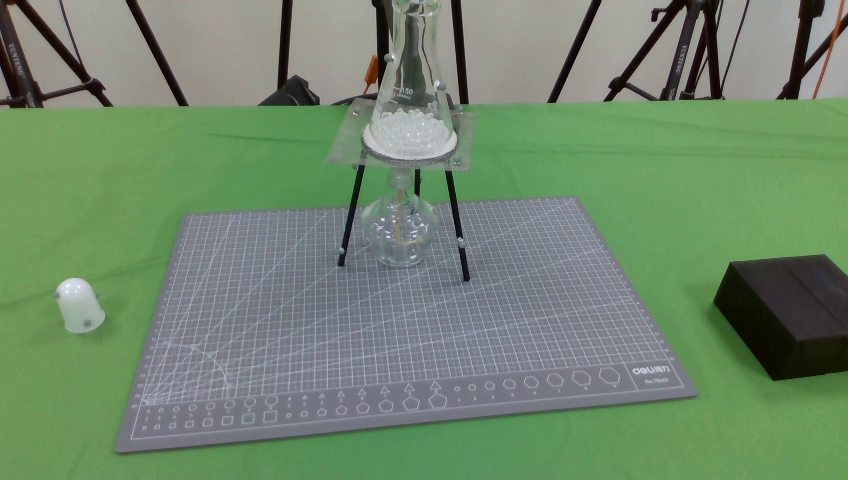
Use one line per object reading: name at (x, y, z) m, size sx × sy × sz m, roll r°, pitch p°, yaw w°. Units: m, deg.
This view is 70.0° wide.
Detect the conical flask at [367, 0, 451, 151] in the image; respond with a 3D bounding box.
conical flask at (-0.011, -0.142, 0.506) m, size 0.075 × 0.123 × 0.074 m, roll 3°, pitch 38°, yaw -2°

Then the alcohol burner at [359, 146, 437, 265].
alcohol burner at (-0.025, -0.036, 0.590) m, size 0.078 × 0.120 × 0.077 m, roll 1°, pitch 36°, yaw 0°

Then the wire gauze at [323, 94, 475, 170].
wire gauze at (-0.017, -0.097, 0.545) m, size 0.121 × 0.011 × 0.124 m, roll 6°, pitch 40°, yaw 3°

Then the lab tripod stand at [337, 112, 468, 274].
lab tripod stand at (-0.013, -0.045, 0.586) m, size 0.148 × 0.132 × 0.147 m, roll 4°, pitch 37°, yaw -2°

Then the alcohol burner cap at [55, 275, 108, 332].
alcohol burner cap at (-0.297, 0.052, 0.520) m, size 0.034 × 0.048 × 0.033 m, roll 1°, pitch 37°, yaw -1°
